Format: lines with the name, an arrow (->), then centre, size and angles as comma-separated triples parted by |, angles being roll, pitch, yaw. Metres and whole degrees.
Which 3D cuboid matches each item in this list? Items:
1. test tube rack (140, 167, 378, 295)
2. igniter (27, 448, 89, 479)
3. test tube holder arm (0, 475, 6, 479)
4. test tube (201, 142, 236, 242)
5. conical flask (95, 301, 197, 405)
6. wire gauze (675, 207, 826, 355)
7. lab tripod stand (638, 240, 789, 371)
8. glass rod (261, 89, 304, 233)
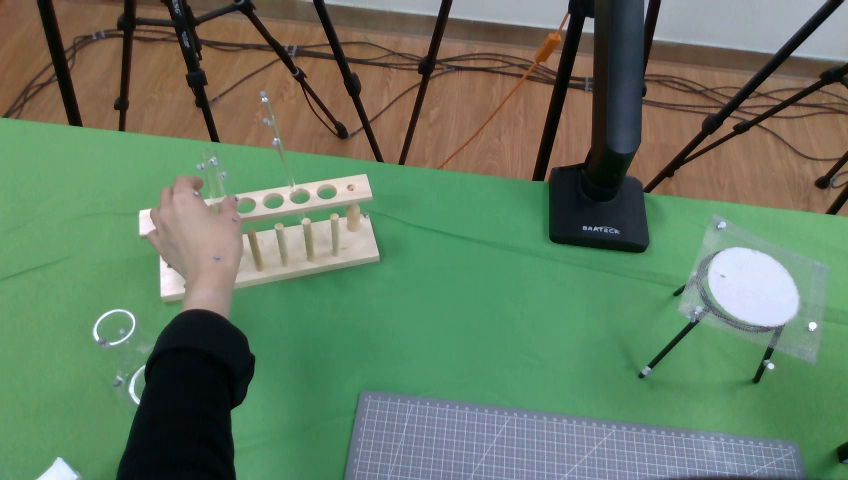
test tube rack -> -0.177, -0.011, 0.681 | 0.243, 0.086, 0.066 | -11, 57, -11
igniter -> -0.384, 0.273, 0.453 | 0.057, 0.025, 0.276 | 29, 58, 27
test tube holder arm -> -0.380, 0.227, 0.487 | 0.087, 0.015, 0.010 | -41, 98, -26
test tube -> -0.216, -0.046, 0.643 | 0.017, 0.151, 0.017 | 4, 52, -5
conical flask -> -0.269, 0.103, 0.576 | 0.075, 0.123, 0.074 | 2, 55, -2
wire gauze -> 0.312, 0.035, 0.569 | 0.121, 0.011, 0.124 | 25, 59, 12
lab tripod stand -> 0.301, 0.074, 0.624 | 0.148, 0.132, 0.147 | 3, 55, -3
glass rod -> -0.147, -0.075, 0.647 | 0.008, 0.201, 0.008 | -2, 49, 2
